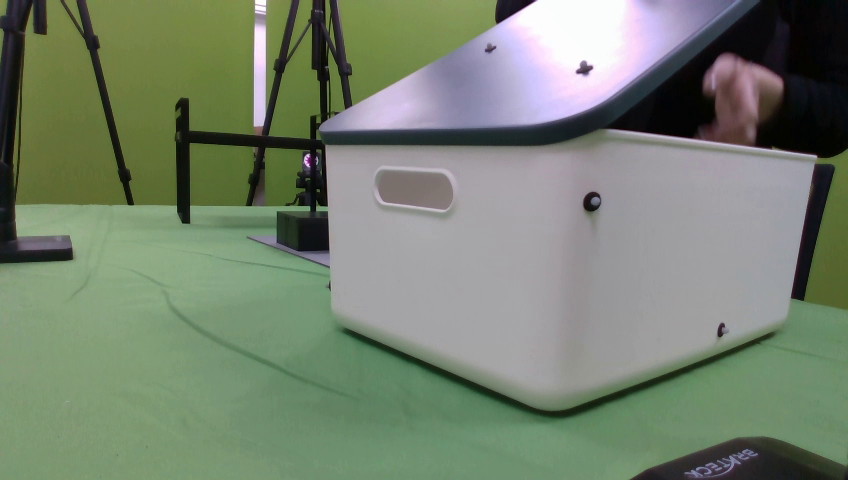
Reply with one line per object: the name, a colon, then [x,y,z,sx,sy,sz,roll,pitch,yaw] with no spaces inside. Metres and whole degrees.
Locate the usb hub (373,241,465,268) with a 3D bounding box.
usb hub: [-0.005,0.018,0.826,0.126,0.025,0.049,-3,9,-39]

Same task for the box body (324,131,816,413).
box body: [0.125,-0.001,0.510,0.366,0.160,0.253,-4,10,-40]

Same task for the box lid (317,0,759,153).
box lid: [0.115,-0.160,0.475,0.372,0.015,0.262,-39,30,-30]
